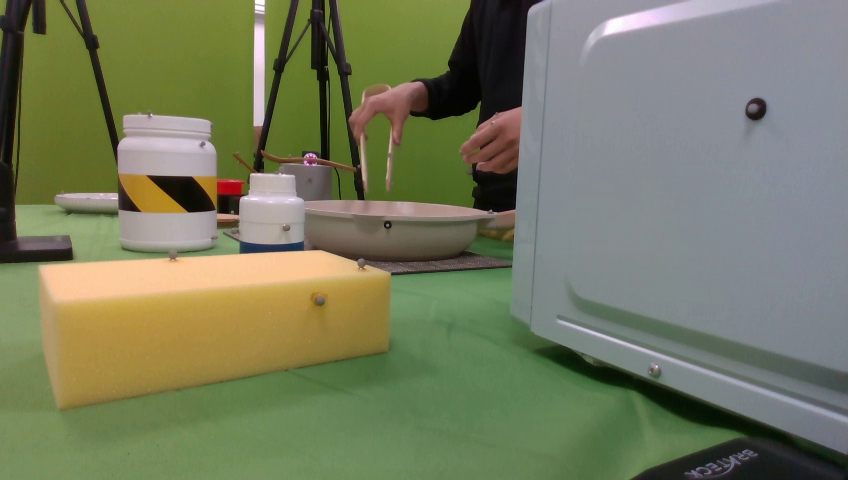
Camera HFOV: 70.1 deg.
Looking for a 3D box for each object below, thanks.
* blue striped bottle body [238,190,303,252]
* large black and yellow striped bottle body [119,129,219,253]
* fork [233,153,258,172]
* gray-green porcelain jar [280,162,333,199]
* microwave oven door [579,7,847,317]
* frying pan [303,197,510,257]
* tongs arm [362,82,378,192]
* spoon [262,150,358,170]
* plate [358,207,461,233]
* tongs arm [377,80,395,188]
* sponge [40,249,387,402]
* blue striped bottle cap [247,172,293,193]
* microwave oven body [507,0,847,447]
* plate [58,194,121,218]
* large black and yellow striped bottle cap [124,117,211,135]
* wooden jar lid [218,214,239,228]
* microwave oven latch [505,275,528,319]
[{"bbox_3d":[-0.153,-0.007,0.606,0.063,0.120,0.063,2,7,0],"label":"blue striped bottle body"},{"bbox_3d":[-0.367,-0.080,0.876,0.131,0.184,0.130,1,7,0],"label":"large black and yellow striped bottle body"},{"bbox_3d":[-0.396,-0.144,1.486,0.028,0.018,0.208,20,-26,45],"label":"fork"},{"bbox_3d":[-0.238,-0.092,1.221,0.106,0.126,0.106,2,7,0],"label":"gray-green porcelain jar"},{"bbox_3d":[0.294,-0.067,0.570,0.358,0.243,0.039,-3,9,-31],"label":"microwave oven door"},{"bbox_3d":[0.051,-0.035,0.915,0.487,0.102,0.307,-5,7,11],"label":"frying pan"},{"bbox_3d":[-0.104,-0.212,1.171,0.028,0.028,0.386,-13,39,7],"label":"tongs arm"},{"bbox_3d":[-0.229,-0.161,1.222,0.194,0.021,0.041,4,3,-16],"label":"spoon"},{"bbox_3d":[-0.030,-0.041,1.214,0.208,0.039,0.207,3,7,0],"label":"plate"},{"bbox_3d":[-0.079,-0.216,1.170,0.051,0.026,0.384,-8,39,7],"label":"tongs arm"},{"bbox_3d":[-0.142,0.047,0.419,0.208,0.061,0.117,-3,8,-36],"label":"sponge"},{"bbox_3d":[-0.152,-0.057,0.598,0.044,0.020,0.044,3,6,0],"label":"blue striped bottle cap"},{"bbox_3d":[0.331,-0.042,0.425,0.444,0.260,0.324,-2,8,-31],"label":"microwave oven body"},{"bbox_3d":[-0.671,-0.074,1.310,0.209,0.038,0.209,2,8,0],"label":"plate"},{"bbox_3d":[-0.366,-0.163,0.866,0.115,0.019,0.115,3,7,0],"label":"large black and yellow striped bottle cap"},{"bbox_3d":[-0.404,-0.037,1.169,0.108,0.020,0.108,3,7,0],"label":"wooden jar lid"},{"bbox_3d":[0.100,0.041,0.471,0.079,0.029,0.030,-1,7,-28],"label":"microwave oven latch"}]
